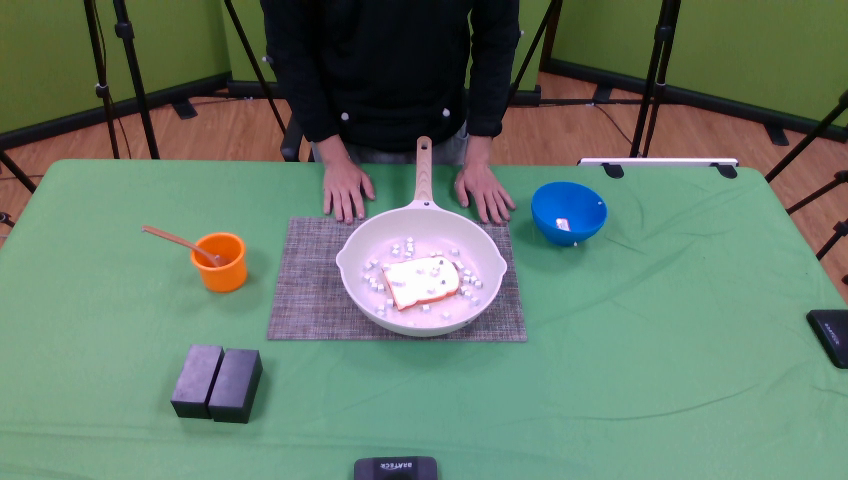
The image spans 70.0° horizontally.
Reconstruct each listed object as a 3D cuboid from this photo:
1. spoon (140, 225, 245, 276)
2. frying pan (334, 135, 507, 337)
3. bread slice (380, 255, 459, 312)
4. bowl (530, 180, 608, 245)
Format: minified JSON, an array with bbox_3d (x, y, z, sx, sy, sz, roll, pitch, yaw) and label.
[{"bbox_3d":[-0.402,0.017,1.063,0.021,0.195,0.041,-38,40,21],"label":"spoon"},{"bbox_3d":[-0.004,-0.026,1.160,0.307,0.103,0.485,4,55,-2],"label":"frying pan"},{"bbox_3d":[-0.005,0.075,1.119,0.134,0.018,0.106,-16,49,-16],"label":"bread slice"},{"bbox_3d":[0.284,-0.044,1.222,0.151,0.077,0.150,2,46,-2],"label":"bowl"}]
